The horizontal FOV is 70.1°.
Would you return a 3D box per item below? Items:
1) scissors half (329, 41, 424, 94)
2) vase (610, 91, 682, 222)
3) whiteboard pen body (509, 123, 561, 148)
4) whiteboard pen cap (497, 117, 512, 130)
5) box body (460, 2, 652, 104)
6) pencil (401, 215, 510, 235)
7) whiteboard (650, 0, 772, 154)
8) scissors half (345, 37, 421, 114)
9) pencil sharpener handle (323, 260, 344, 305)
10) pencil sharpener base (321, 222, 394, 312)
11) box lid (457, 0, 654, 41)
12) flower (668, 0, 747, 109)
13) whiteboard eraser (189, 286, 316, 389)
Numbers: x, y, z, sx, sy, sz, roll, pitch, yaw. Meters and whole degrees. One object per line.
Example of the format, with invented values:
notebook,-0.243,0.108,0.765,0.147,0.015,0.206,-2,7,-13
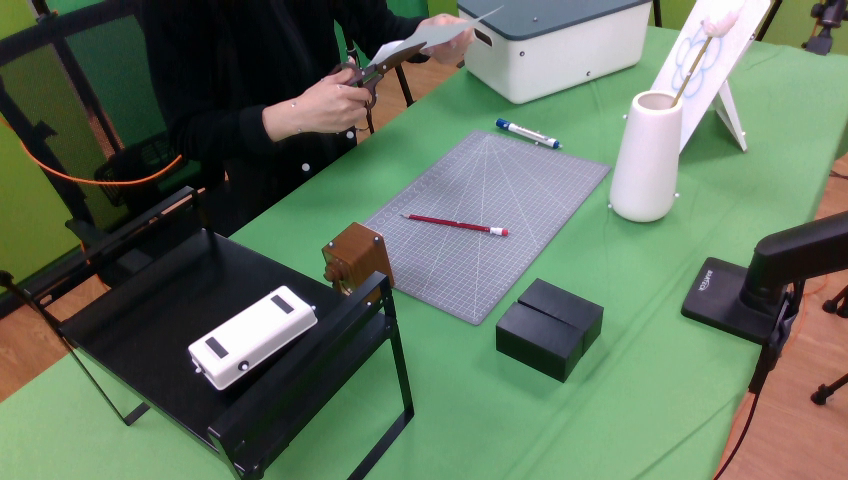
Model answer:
scissors half,-0.074,-0.263,0.906,0.174,0.040,0.013,-14,34,27
vase,0.348,-0.125,0.935,0.098,0.201,0.097,-3,40,3
whiteboard pen body,0.208,-0.211,1.196,0.139,0.017,0.017,29,52,33
whiteboard pen cap,0.165,-0.235,1.226,0.033,0.018,0.018,32,53,30
box body,0.291,-0.465,1.371,0.365,0.161,0.252,-22,42,-16
pencil,0.049,-0.027,1.007,0.193,0.012,0.012,10,43,21
whiteboard,0.543,-0.298,1.076,0.144,0.305,0.216,12,40,-7
scissors half,-0.061,-0.247,0.913,0.040,0.174,0.013,42,39,-13
pencil sharpener handle,-0.131,0.062,0.839,0.035,0.068,0.031,29,55,28
pencil sharpener base,-0.096,0.041,0.873,0.061,0.107,0.077,26,54,32
box lid,0.285,-0.522,1.323,0.373,0.015,0.261,-22,43,-16
flower,0.354,-0.187,0.879,0.038,0.362,0.044,30,48,14
whiteboard eraser,-0.166,0.096,0.593,0.113,0.042,0.055,-36,47,-29
